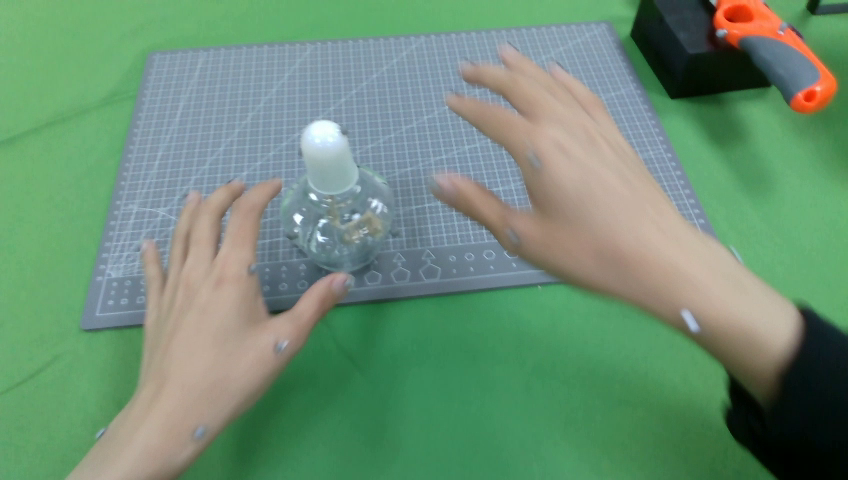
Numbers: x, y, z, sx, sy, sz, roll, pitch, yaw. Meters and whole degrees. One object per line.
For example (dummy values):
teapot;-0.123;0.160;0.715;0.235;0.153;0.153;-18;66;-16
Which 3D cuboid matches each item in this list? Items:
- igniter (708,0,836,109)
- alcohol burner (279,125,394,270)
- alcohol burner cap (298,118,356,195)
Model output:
igniter;0.267;-0.206;0.525;0.057;0.025;0.273;-10;52;-4
alcohol burner;-0.060;-0.032;0.399;0.078;0.120;0.077;0;56;1
alcohol burner cap;-0.061;-0.054;0.370;0.034;0.048;0.033;0;57;1
